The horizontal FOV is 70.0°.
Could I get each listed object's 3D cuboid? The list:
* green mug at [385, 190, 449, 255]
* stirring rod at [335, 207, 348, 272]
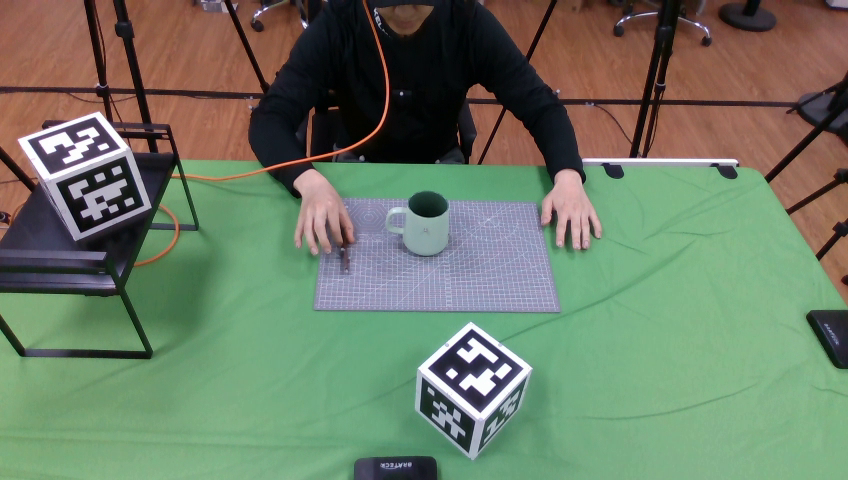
[{"bbox_3d":[-0.013,-0.033,1.166,0.125,0.105,0.092,2,46,-2],"label":"green mug"},{"bbox_3d":[-0.162,-0.004,1.192,0.006,0.014,0.175,8,42,-22],"label":"stirring rod"}]
